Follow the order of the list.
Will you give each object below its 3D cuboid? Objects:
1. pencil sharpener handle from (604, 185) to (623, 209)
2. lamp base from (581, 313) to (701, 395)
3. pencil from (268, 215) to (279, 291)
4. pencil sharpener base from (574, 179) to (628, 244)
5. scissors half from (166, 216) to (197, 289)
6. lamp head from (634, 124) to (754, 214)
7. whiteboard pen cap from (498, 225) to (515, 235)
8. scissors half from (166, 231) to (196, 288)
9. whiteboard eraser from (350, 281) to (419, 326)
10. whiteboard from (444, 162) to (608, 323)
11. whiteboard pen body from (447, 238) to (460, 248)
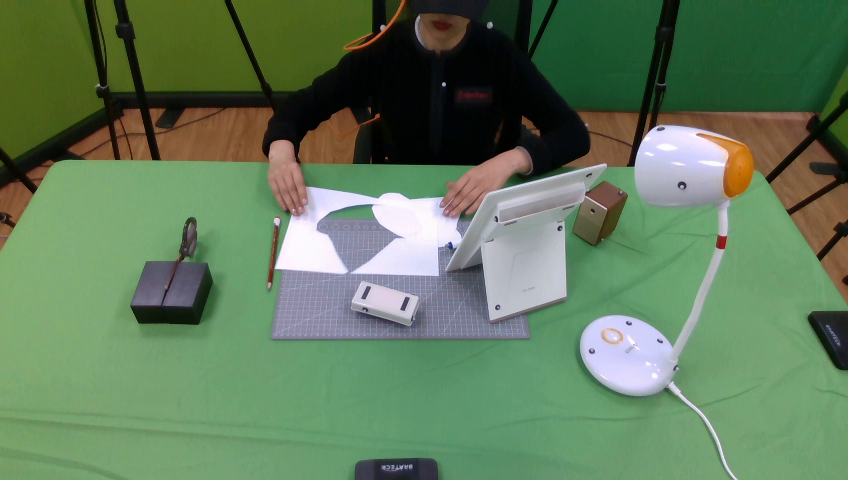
[{"bbox_3d":[0.390,-0.091,1.235,0.030,0.068,0.036,-33,69,-31],"label":"pencil sharpener handle"},{"bbox_3d":[0.361,0.144,0.973,0.178,0.181,0.160,34,53,23],"label":"lamp base"},{"bbox_3d":[-0.291,0.022,1.164,0.012,0.012,0.192,-2,48,-6],"label":"pencil"},{"bbox_3d":[0.355,-0.057,1.217,0.076,0.107,0.061,-33,56,-31],"label":"pencil sharpener base"},{"bbox_3d":[-0.436,0.020,1.086,0.013,0.040,0.174,7,47,-7],"label":"scissors half"},{"bbox_3d":[0.351,-0.089,0.775,0.112,0.113,0.122,-30,30,-28],"label":"lamp head"},{"bbox_3d":[0.166,-0.019,1.222,0.033,0.018,0.018,-14,49,-19],"label":"whiteboard pen cap"},{"bbox_3d":[-0.441,0.036,1.098,0.013,0.040,0.174,12,28,-10],"label":"scissors half"},{"bbox_3d":[-0.069,0.113,1.065,0.112,0.042,0.055,14,46,9],"label":"whiteboard eraser"},{"bbox_3d":[0.186,0.025,1.029,0.217,0.306,0.143,-14,68,-18],"label":"whiteboard"},{"bbox_3d":[0.112,-0.006,1.204,0.141,0.017,0.017,-14,49,-18],"label":"whiteboard pen body"}]
